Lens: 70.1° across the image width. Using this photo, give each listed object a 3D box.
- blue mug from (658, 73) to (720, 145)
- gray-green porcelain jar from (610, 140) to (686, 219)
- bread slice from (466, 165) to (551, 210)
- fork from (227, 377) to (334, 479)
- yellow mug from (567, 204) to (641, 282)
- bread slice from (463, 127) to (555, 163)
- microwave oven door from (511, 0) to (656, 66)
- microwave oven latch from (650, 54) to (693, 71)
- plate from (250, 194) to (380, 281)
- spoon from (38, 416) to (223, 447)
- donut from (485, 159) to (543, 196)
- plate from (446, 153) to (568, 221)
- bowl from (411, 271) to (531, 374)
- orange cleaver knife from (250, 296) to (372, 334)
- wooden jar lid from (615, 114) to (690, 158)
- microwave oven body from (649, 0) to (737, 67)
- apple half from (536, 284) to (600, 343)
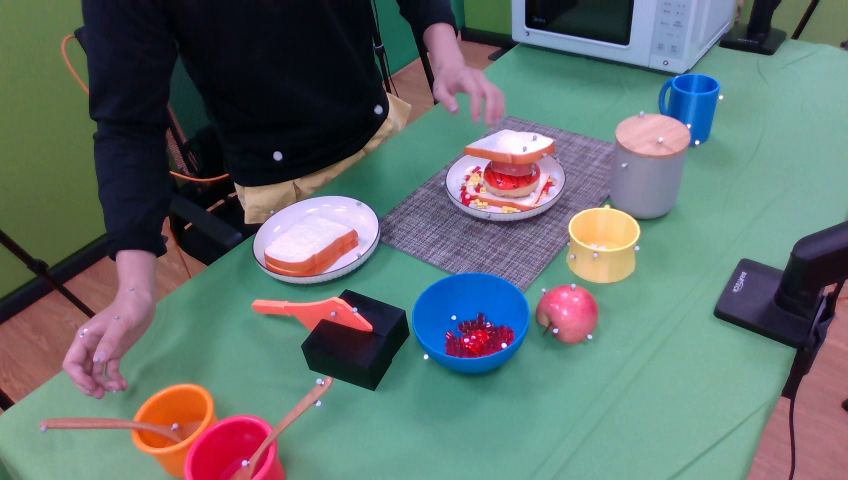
[{"bbox_3d":[0.483,-0.250,1.127,0.082,0.106,0.115,-26,44,-19],"label":"blue mug"},{"bbox_3d":[0.354,-0.106,0.964,0.106,0.127,0.105,-4,41,4],"label":"gray-green porcelain jar"},{"bbox_3d":[0.141,-0.093,1.041,0.133,0.018,0.107,8,42,20],"label":"bread slice"},{"bbox_3d":[-0.163,0.216,0.647,0.207,0.019,0.028,-49,41,16],"label":"fork"},{"bbox_3d":[0.268,-0.004,0.905,0.099,0.064,0.130,6,41,16],"label":"yellow mug"},{"bbox_3d":[0.145,-0.154,0.973,0.105,0.019,0.130,-28,33,-34],"label":"bread slice"},{"bbox_3d":[0.350,-0.539,1.348,0.353,0.245,0.039,24,50,31],"label":"microwave oven door"},{"bbox_3d":[0.531,-0.386,1.301,0.078,0.029,0.030,26,51,33],"label":"microwave oven latch"},{"bbox_3d":[-0.174,-0.001,0.985,0.209,0.038,0.208,-3,39,3],"label":"plate"},{"bbox_3d":[-0.320,0.209,0.677,0.021,0.195,0.041,-53,41,15],"label":"spoon"},{"bbox_3d":[0.151,-0.112,1.018,0.099,0.048,0.098,-4,40,4],"label":"donut"},{"bbox_3d":[0.142,-0.097,1.045,0.207,0.039,0.206,-4,40,4],"label":"plate"},{"bbox_3d":[0.062,0.119,0.780,0.151,0.077,0.150,-4,40,4],"label":"bowl"},{"bbox_3d":[-0.158,0.103,0.828,0.210,0.078,0.012,-4,43,39],"label":"orange cleaver knife"},{"bbox_3d":[0.347,-0.155,0.923,0.108,0.021,0.108,-3,44,4],"label":"wooden jar lid"},{"bbox_3d":[0.475,-0.602,1.411,0.438,0.261,0.327,23,50,32],"label":"microwave oven body"},{"bbox_3d":[0.196,0.091,0.815,0.075,0.053,0.080,-22,42,-20],"label":"apple half"}]
